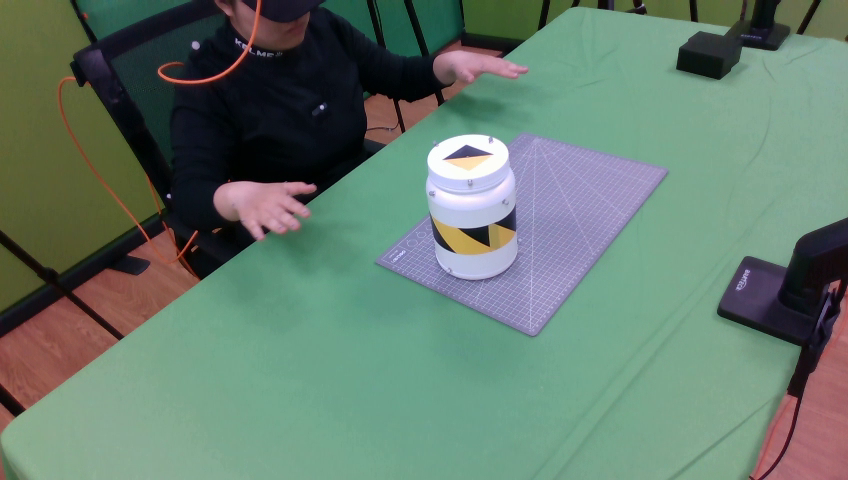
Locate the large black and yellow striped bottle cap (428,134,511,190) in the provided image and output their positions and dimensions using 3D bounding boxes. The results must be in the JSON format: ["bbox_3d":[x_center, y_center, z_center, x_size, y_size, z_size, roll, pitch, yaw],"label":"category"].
[{"bbox_3d":[0.062,-0.111,0.840,0.115,0.019,0.114,-5,41,5],"label":"large black and yellow striped bottle cap"}]

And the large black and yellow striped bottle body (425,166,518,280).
[{"bbox_3d":[0.072,-0.047,0.894,0.131,0.185,0.130,-5,40,5],"label":"large black and yellow striped bottle body"}]
